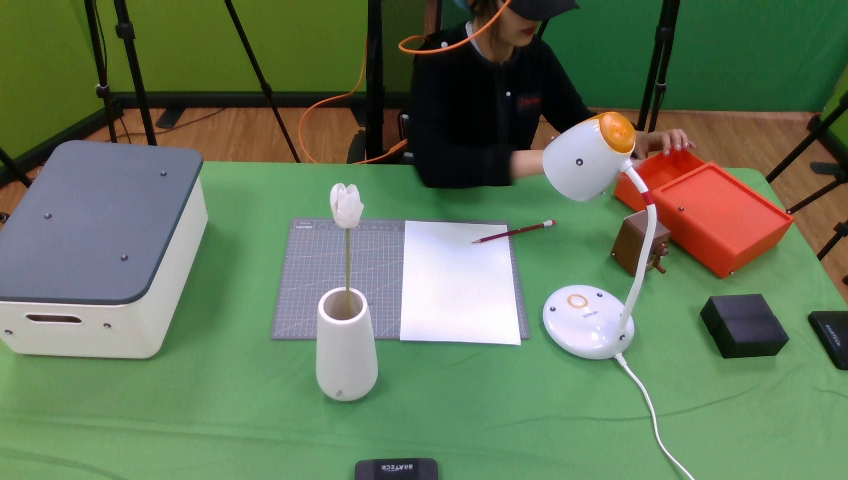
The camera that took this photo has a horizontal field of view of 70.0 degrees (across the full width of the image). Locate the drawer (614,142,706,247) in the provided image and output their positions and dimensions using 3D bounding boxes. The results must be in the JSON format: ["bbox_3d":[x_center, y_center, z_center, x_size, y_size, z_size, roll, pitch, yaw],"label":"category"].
[{"bbox_3d":[0.552,-0.101,1.293,0.194,0.073,0.210,-24,53,-26],"label":"drawer"}]

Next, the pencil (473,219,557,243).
[{"bbox_3d":[0.185,-0.017,1.233,0.194,0.012,0.012,-14,49,-17],"label":"pencil"}]

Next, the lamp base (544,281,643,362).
[{"bbox_3d":[0.303,0.095,1.014,0.161,0.181,0.178,-24,54,-24],"label":"lamp base"}]

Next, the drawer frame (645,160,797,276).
[{"bbox_3d":[0.601,-0.051,1.244,0.202,0.083,0.212,-24,53,-26],"label":"drawer frame"}]

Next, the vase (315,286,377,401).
[{"bbox_3d":[-0.119,0.159,0.911,0.098,0.201,0.097,2,47,-2],"label":"vase"}]

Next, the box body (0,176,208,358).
[{"bbox_3d":[-0.546,0.017,1.045,0.254,0.161,0.361,2,46,-2],"label":"box body"}]

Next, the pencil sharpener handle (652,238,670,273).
[{"bbox_3d":[0.443,0.030,1.120,0.036,0.068,0.030,-24,52,-17],"label":"pencil sharpener handle"}]

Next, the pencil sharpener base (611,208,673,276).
[{"bbox_3d":[0.416,0.007,1.158,0.061,0.107,0.076,-20,51,-22],"label":"pencil sharpener base"}]

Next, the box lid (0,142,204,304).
[{"bbox_3d":[-0.534,-0.044,0.995,0.263,0.015,0.369,3,45,-3],"label":"box lid"}]

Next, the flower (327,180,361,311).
[{"bbox_3d":[-0.110,0.086,0.867,0.044,0.363,0.038,22,33,35],"label":"flower"}]

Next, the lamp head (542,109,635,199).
[{"bbox_3d":[0.253,-0.131,0.893,0.113,0.123,0.112,10,66,-24],"label":"lamp head"}]

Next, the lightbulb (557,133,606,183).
[{"bbox_3d":[0.242,-0.127,0.916,0.059,0.108,0.059,5,67,-12],"label":"lightbulb"}]
